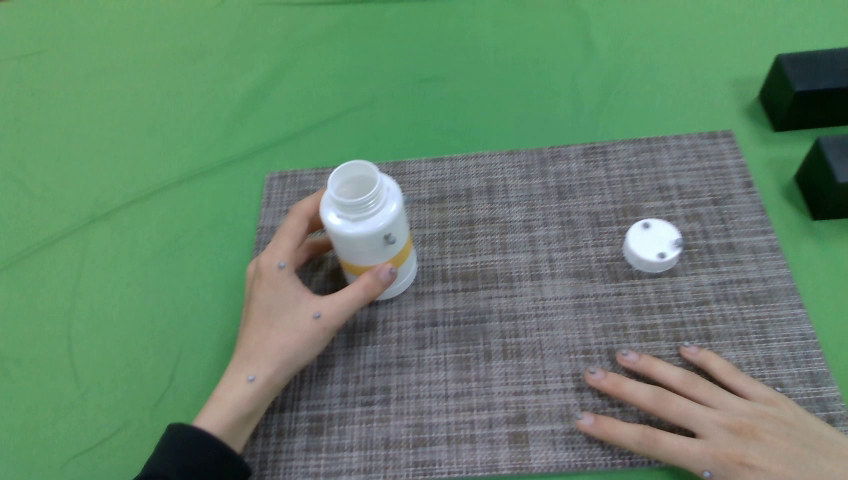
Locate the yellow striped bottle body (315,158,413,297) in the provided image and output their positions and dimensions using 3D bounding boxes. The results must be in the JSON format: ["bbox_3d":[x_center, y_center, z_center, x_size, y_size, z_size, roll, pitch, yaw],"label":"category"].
[{"bbox_3d":[-0.046,-0.010,0.474,0.063,0.121,0.062,-3,56,5],"label":"yellow striped bottle body"}]

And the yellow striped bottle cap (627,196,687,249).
[{"bbox_3d":[0.186,-0.014,0.486,0.044,0.019,0.044,-6,47,6],"label":"yellow striped bottle cap"}]
